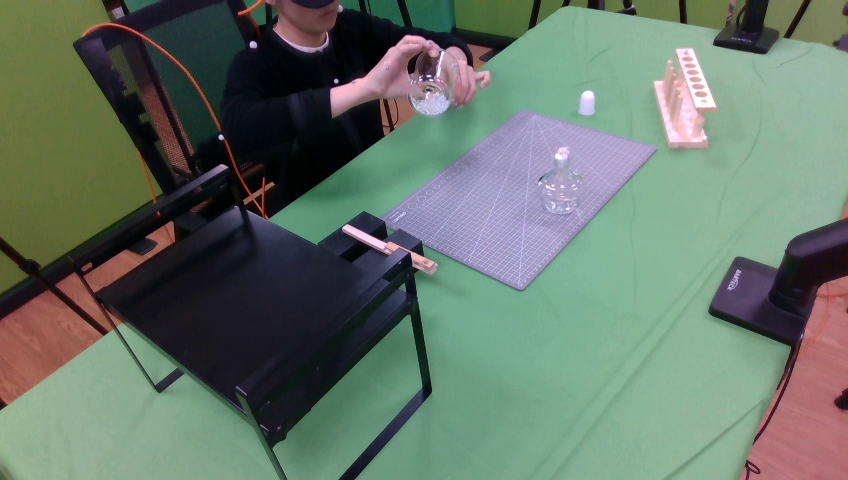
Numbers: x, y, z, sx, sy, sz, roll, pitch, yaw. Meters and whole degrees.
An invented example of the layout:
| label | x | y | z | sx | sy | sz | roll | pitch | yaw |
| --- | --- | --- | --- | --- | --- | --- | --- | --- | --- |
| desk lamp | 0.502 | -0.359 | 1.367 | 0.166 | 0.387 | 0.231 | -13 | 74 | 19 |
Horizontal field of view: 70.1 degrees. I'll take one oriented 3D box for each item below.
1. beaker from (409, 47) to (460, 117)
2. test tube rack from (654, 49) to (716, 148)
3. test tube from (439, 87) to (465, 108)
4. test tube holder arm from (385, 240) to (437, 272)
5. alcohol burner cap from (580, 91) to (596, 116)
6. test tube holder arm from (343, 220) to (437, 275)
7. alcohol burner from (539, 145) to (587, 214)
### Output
| label | x | y | z | sx | sy | sz | roll | pitch | yaw |
| --- | --- | --- | --- | --- | --- | --- | --- | --- | --- |
| beaker | 0.017 | -0.251 | 0.978 | 0.074 | 0.084 | 0.100 | -6 | 41 | 17 |
| test tube rack | 0.502 | -0.281 | 1.176 | 0.066 | 0.085 | 0.241 | 1 | 41 | 11 |
| test tube | 0.054 | -0.259 | 1.106 | 0.017 | 0.017 | 0.151 | 6 | 5 | 15 |
| test tube holder arm | -0.020 | 0.022 | 0.872 | 0.087 | 0.010 | 0.015 | 26 | 58 | 31 |
| alcohol burner cap | 0.338 | -0.283 | 1.238 | 0.034 | 0.048 | 0.033 | -5 | 42 | 4 |
| test tube holder arm | -0.054 | 0.009 | 0.899 | 0.177 | 0.013 | 0.015 | 26 | 58 | 30 |
| alcohol burner | 0.226 | -0.102 | 0.986 | 0.078 | 0.119 | 0.077 | -6 | 41 | 6 |
